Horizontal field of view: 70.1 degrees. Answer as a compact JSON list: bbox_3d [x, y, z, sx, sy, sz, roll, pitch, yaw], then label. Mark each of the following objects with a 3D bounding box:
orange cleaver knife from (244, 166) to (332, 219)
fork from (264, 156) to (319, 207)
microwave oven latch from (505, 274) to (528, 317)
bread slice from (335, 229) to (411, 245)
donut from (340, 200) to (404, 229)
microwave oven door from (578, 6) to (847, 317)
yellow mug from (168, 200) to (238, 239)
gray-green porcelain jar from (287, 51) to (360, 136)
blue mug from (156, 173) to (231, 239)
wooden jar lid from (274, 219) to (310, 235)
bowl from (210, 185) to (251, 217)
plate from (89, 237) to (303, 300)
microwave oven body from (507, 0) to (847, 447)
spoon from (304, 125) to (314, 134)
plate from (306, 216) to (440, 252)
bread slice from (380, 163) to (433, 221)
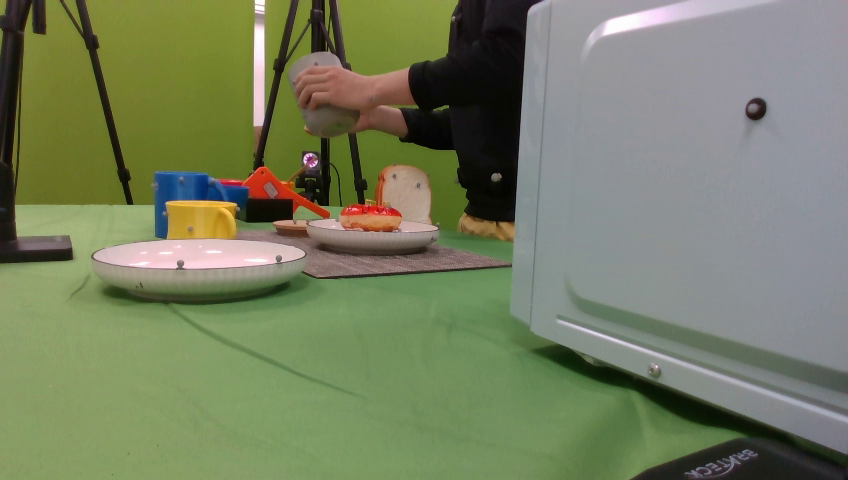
[{"bbox_3d":[-0.301,-0.089,1.351,0.212,0.077,0.012,32,-11,-34],"label":"orange cleaver knife"},{"bbox_3d":[-0.331,-0.144,1.505,0.207,0.018,0.028,-42,-19,22],"label":"fork"},{"bbox_3d":[0.100,0.041,0.473,0.079,0.029,0.030,-2,8,-32],"label":"microwave oven latch"},{"bbox_3d":[-0.074,-0.005,0.938,0.105,0.019,0.131,-1,4,-19],"label":"bread slice"},{"bbox_3d":[-0.081,-0.038,0.945,0.099,0.048,0.099,1,4,0],"label":"donut"},{"bbox_3d":[0.294,-0.067,0.570,0.358,0.243,0.039,-3,9,-31],"label":"microwave oven door"},{"bbox_3d":[-0.320,-0.023,0.904,0.130,0.064,0.100,9,11,36],"label":"yellow mug"},{"bbox_3d":[-0.184,-0.266,1.124,0.106,0.126,0.106,-23,-14,-6],"label":"gray-green porcelain jar"},{"bbox_3d":[-0.381,-0.057,1.004,0.117,0.106,0.082,1,8,-12],"label":"blue mug"},{"bbox_3d":[-0.213,-0.023,1.080,0.108,0.020,0.108,3,7,0],"label":"wooden jar lid"},{"bbox_3d":[-0.408,-0.064,1.154,0.151,0.077,0.151,2,8,0],"label":"bowl"},{"bbox_3d":[-0.233,0.029,0.637,0.208,0.039,0.207,2,7,0],"label":"plate"},{"bbox_3d":[0.331,-0.042,0.425,0.444,0.260,0.324,-2,8,-31],"label":"microwave oven body"},{"bbox_3d":[-0.234,-0.276,1.309,0.042,0.021,0.193,8,39,-13],"label":"spoon"},{"bbox_3d":[-0.079,-0.011,0.950,0.209,0.038,0.209,2,8,0],"label":"plate"},{"bbox_3d":[-0.035,-0.076,1.125,0.107,0.134,0.018,-4,1,-25],"label":"bread slice"}]
